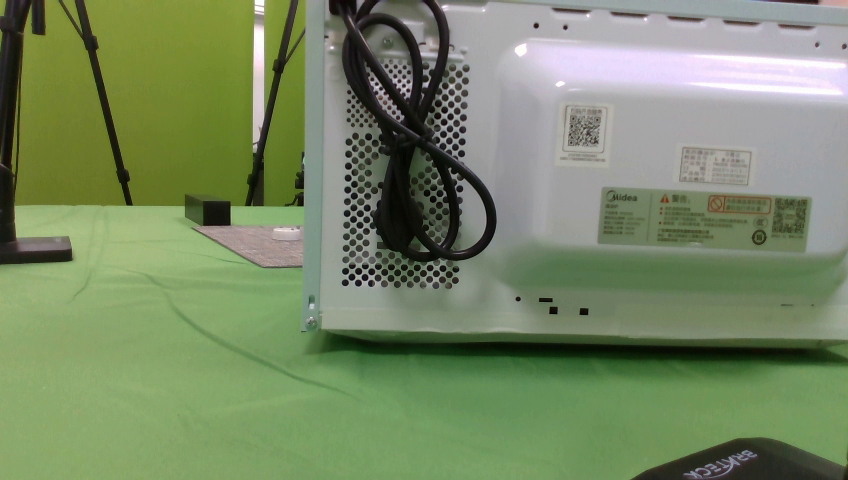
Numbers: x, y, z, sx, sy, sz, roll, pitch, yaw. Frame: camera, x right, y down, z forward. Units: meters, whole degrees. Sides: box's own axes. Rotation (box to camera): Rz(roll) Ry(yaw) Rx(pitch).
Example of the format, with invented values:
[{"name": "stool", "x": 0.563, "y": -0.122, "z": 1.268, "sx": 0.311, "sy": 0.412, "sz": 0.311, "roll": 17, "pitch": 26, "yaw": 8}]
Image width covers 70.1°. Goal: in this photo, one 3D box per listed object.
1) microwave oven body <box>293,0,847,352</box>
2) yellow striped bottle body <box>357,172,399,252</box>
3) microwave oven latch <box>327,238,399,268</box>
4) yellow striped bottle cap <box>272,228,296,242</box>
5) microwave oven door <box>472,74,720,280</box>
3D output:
[{"name": "microwave oven body", "x": 0.122, "y": -0.055, "z": 0.551, "sx": 0.442, "sy": 0.260, "sz": 0.325, "roll": 3, "pitch": 7, "yaw": -5}, {"name": "yellow striped bottle body", "x": -0.071, "y": -0.044, "z": 0.933, "sx": 0.063, "sy": 0.120, "sz": 0.063, "roll": 3, "pitch": 8, "yaw": 0}, {"name": "microwave oven latch", "x": -0.069, "y": 0.015, "z": 0.694, "sx": 0.079, "sy": 0.029, "sz": 0.030, "roll": 3, "pitch": 7, "yaw": -3}, {"name": "yellow striped bottle cap", "x": -0.232, "y": -0.008, "z": 1.012, "sx": 0.044, "sy": 0.018, "sz": 0.044, "roll": 3, "pitch": 9, "yaw": 0}, {"name": "microwave oven door", "x": 0.211, "y": -0.092, "z": 0.834, "sx": 0.039, "sy": 0.243, "sz": 0.354, "roll": -5, "pitch": 10, "yaw": -42}]
